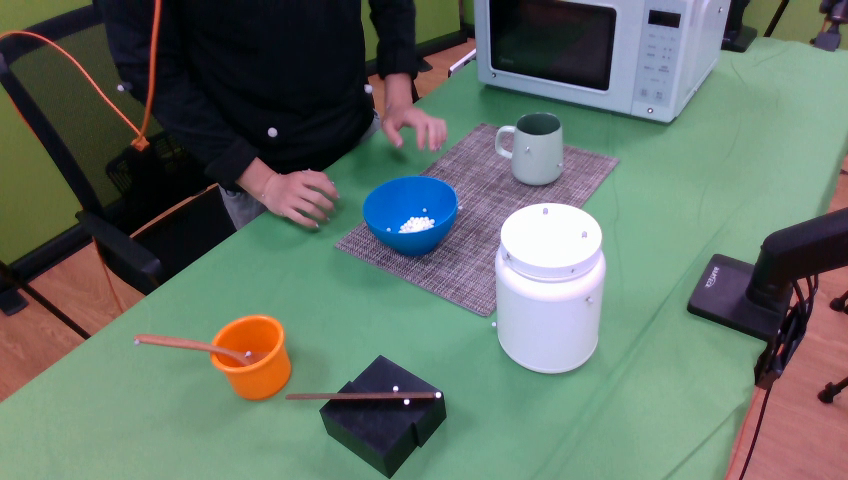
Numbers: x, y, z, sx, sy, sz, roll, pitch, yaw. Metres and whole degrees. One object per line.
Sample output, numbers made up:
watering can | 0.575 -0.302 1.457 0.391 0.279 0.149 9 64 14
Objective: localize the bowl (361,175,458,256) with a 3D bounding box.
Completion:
bowl | -0.019 -0.028 0.955 0.151 0.077 0.150 -4 40 4

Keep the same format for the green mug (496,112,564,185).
green mug | 0.184 -0.161 1.061 0.124 0.105 0.092 15 46 24

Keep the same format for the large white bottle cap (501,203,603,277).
large white bottle cap | 0.146 -0.003 0.693 0.115 0.018 0.114 -4 41 4

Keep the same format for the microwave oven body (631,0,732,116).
microwave oven body | 0.377 -0.463 1.267 0.438 0.261 0.327 21 48 30

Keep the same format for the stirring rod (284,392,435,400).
stirring rod | -0.075 0.180 0.698 0.176 0.006 0.014 -2 6 6

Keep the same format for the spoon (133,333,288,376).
spoon | -0.257 0.137 0.747 0.021 0.195 0.041 -47 40 23

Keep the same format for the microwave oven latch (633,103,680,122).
microwave oven latch | 0.443 -0.249 1.157 0.078 0.029 0.030 20 48 30

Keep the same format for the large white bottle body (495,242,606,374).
large white bottle body | 0.155 0.061 0.748 0.130 0.185 0.130 -4 40 4

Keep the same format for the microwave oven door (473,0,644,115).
microwave oven door | 0.257 -0.396 1.199 0.353 0.245 0.039 21 48 29
